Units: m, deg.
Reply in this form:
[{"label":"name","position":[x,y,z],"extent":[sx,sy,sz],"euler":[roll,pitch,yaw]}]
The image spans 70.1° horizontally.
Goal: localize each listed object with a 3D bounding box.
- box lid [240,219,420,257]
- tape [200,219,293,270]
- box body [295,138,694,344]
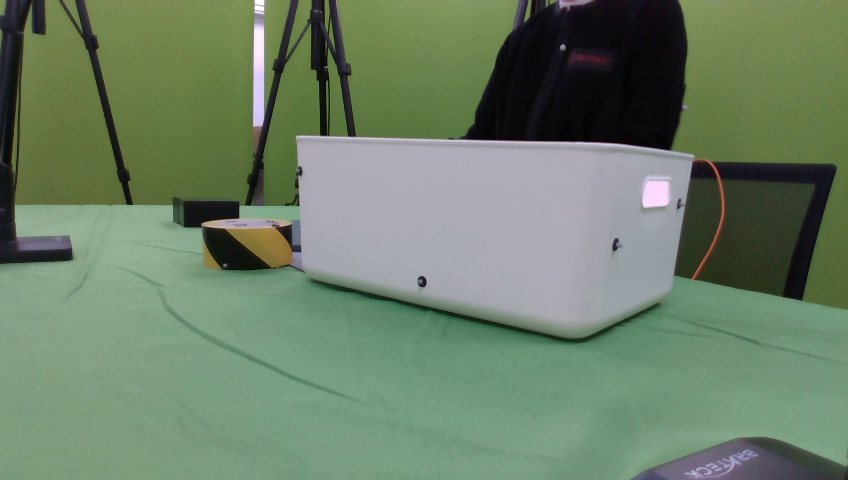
[{"label":"box lid","position":[-0.141,-0.007,1.057],"extent":[0.263,0.015,0.371],"euler":[4,7,0]},{"label":"tape","position":[-0.228,0.004,0.778],"extent":[0.117,0.052,0.117],"euler":[1,8,0]},{"label":"box body","position":[0.065,-0.020,0.653],"extent":[0.362,0.160,0.255],"euler":[9,9,36]}]
